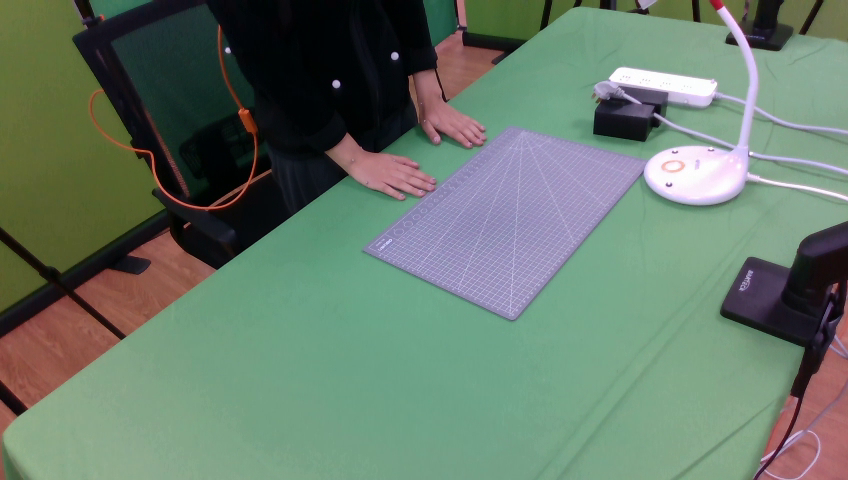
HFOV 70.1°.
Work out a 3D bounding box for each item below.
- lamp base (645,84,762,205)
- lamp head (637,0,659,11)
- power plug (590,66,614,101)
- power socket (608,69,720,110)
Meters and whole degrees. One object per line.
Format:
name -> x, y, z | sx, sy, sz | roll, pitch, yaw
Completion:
lamp base -> 0.461, -0.170, 0.975 | 0.179, 0.181, 0.160 | 3, 41, 11
lamp head -> 0.330, -0.391, 0.827 | 0.122, 0.113, 0.112 | -21, 35, 25
power plug -> 0.354, -0.304, 1.198 | 0.035, 0.052, 0.072 | 42, 42, -9
power socket -> 0.492, -0.315, 1.256 | 0.225, 0.033, 0.072 | 20, 49, 30
